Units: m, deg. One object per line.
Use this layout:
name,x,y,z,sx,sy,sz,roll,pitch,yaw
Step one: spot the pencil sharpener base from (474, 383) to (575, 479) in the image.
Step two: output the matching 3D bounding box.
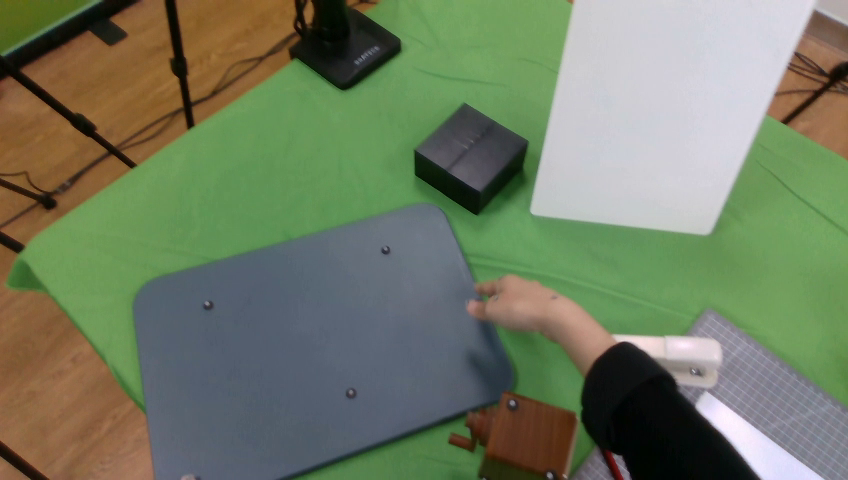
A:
pencil sharpener base,0.086,0.181,0.555,0.076,0.108,0.061,16,62,9

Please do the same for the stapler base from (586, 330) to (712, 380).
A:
stapler base,0.239,0.118,0.640,0.130,0.024,0.041,6,56,6

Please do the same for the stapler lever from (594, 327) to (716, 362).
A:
stapler lever,0.236,0.105,0.619,0.118,0.040,0.026,6,56,6

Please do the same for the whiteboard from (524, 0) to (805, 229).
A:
whiteboard,0.246,-0.184,0.687,0.217,0.308,0.142,7,41,4

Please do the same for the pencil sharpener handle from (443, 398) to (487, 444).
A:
pencil sharpener handle,0.036,0.165,0.550,0.030,0.068,0.036,16,47,9

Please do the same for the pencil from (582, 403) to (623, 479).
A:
pencil,0.193,0.244,0.575,0.012,0.012,0.192,-16,60,-10

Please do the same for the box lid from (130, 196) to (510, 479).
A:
box lid,-0.119,0.100,0.656,0.372,0.015,0.260,-17,62,-11
